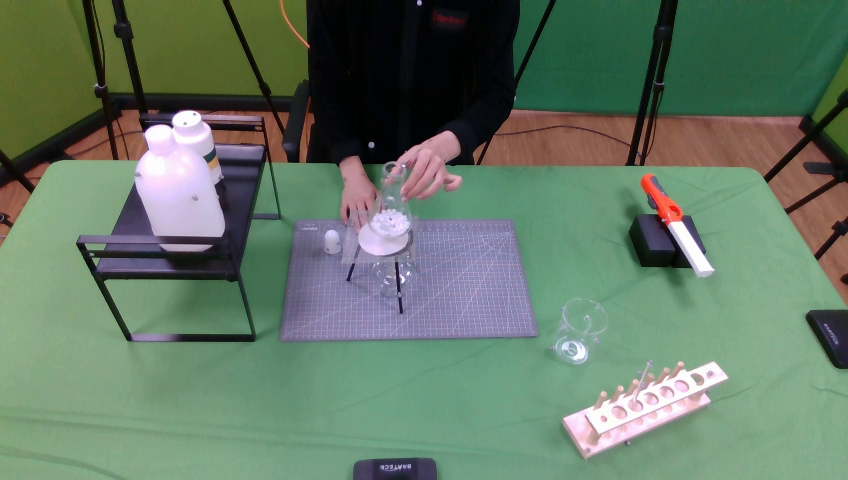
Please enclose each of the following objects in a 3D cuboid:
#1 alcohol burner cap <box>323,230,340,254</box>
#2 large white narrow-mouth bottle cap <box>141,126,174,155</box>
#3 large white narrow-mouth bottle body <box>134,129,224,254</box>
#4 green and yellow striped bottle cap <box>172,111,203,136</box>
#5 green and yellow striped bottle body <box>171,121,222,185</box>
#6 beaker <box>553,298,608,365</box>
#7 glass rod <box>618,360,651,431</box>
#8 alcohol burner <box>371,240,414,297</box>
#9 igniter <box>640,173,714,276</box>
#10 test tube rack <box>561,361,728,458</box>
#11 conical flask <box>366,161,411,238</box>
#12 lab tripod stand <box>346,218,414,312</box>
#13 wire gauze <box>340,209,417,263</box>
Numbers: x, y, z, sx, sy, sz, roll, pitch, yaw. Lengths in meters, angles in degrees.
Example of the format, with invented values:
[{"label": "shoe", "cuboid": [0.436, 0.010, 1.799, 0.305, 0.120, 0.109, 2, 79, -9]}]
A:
[{"label": "alcohol burner cap", "cuboid": [-0.179, 0.002, 1.165, 0.034, 0.048, 0.033, 2, 45, -2]}, {"label": "large white narrow-mouth bottle cap", "cuboid": [-0.356, -0.133, 0.811, 0.038, 0.024, 0.037, 2, 47, -1]}, {"label": "large white narrow-mouth bottle body", "cuboid": [-0.358, -0.075, 0.875, 0.102, 0.195, 0.101, 1, 47, -1]}, {"label": "green and yellow striped bottle cap", "cuboid": [-0.374, -0.185, 0.958, 0.045, 0.020, 0.045, 3, 46, -3]}, {"label": "green and yellow striped bottle body", "cuboid": [-0.375, -0.149, 0.995, 0.063, 0.120, 0.063, 2, 46, -2]}, {"label": "beaker", "cuboid": [0.260, 0.154, 1.015, 0.073, 0.101, 0.084, 37, 54, 27]}, {"label": "glass rod", "cuboid": [0.298, 0.227, 0.865, 0.008, 0.201, 0.008, -2, 47, 2]}, {"label": "alcohol burner", "cuboid": [-0.057, 0.046, 1.082, 0.078, 0.120, 0.077, 0, 46, 0]}, {"label": "igniter", "cuboid": [0.495, -0.039, 1.204, 0.057, 0.025, 0.274, -2, 47, -12]}, {"label": "test tube rack", "cuboid": [0.341, 0.248, 0.940, 0.243, 0.085, 0.066, -15, 49, -18]}, {"label": "conical flask", "cuboid": [-0.054, -0.067, 0.967, 0.075, 0.122, 0.075, 4, 46, -4]}, {"label": "lab tripod stand", "cuboid": [-0.070, 0.037, 1.075, 0.148, 0.132, 0.147, 1, 47, -1]}, {"label": "wire gauze", "cuboid": [-0.074, -0.007, 1.023, 0.121, 0.011, 0.124, 3, 46, 0]}]
